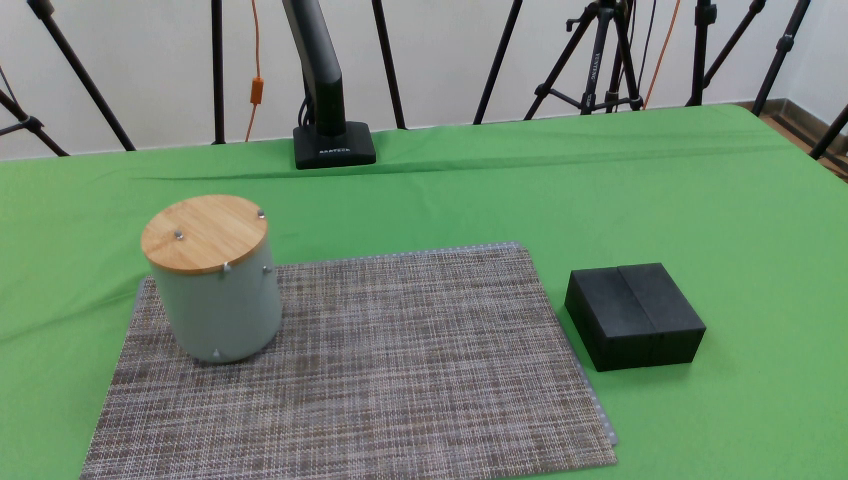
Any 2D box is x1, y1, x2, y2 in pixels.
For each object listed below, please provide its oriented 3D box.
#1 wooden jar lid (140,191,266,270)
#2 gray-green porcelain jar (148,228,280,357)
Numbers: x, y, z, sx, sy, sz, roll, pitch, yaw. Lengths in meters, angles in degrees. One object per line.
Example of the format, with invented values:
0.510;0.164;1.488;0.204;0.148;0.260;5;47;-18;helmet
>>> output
-0.199;-0.007;0.552;0.108;0.021;0.107;3;41;-2;wooden jar lid
-0.199;0.042;0.590;0.106;0.127;0.105;1;38;0;gray-green porcelain jar
